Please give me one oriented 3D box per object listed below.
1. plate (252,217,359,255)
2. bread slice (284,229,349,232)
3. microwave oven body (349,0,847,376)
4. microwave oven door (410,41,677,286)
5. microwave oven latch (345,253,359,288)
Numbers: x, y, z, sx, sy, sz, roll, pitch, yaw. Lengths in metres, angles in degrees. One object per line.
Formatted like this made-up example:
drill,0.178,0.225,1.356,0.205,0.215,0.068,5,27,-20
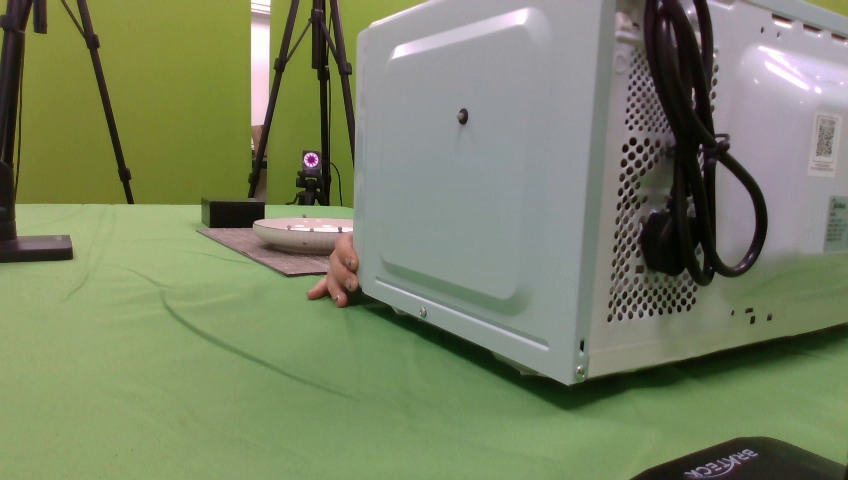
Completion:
plate,-0.155,-0.007,0.923,0.209,0.038,0.209,3,7,0
bread slice,-0.153,-0.004,0.921,0.132,0.019,0.104,0,7,-30
microwave oven body,0.199,-0.053,0.539,0.444,0.260,0.324,-1,7,-32
microwave oven door,0.154,-0.079,0.692,0.358,0.243,0.039,-2,8,-29
microwave oven latch,-0.034,0.029,0.572,0.079,0.029,0.030,1,6,-16
